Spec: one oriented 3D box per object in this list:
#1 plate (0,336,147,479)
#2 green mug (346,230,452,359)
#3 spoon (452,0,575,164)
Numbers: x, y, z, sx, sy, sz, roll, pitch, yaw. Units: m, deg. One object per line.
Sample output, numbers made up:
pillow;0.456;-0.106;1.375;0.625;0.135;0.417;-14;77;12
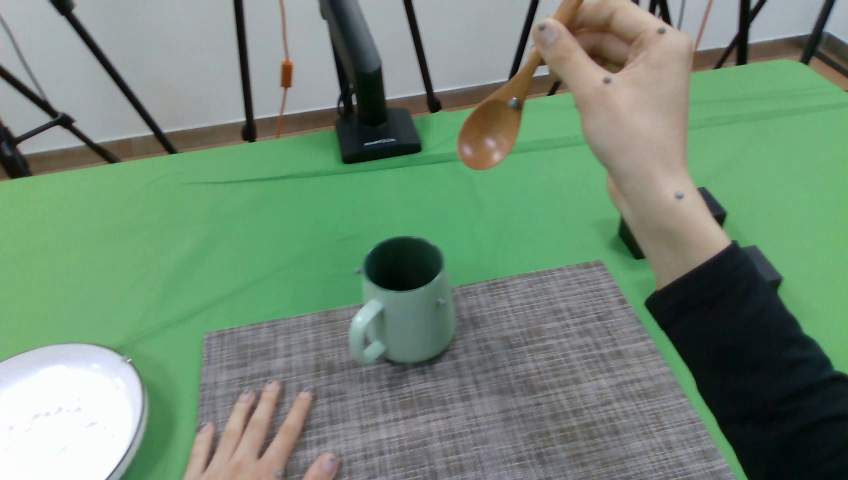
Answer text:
plate;-0.353;0.178;0.543;0.209;0.038;0.207;-2;42;2
green mug;-0.029;0.063;0.589;0.092;0.106;0.125;25;50;27
spoon;0.077;-0.132;0.405;0.041;0.194;0.021;37;31;7
